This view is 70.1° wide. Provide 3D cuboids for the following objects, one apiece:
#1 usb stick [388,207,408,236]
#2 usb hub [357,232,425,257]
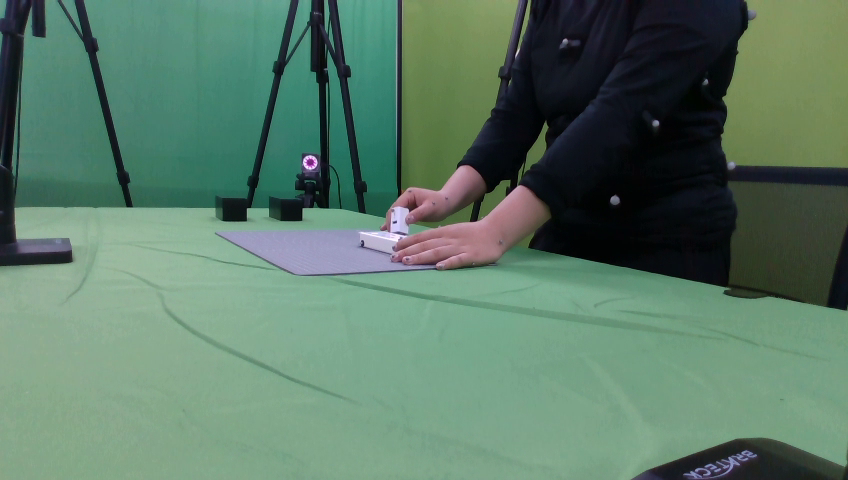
[{"bbox_3d":[-0.044,-0.024,1.015,0.021,0.059,0.027,-5,-12,40],"label":"usb stick"},{"bbox_3d":[-0.055,0.005,0.947,0.050,0.025,0.124,-3,9,-36],"label":"usb hub"}]
